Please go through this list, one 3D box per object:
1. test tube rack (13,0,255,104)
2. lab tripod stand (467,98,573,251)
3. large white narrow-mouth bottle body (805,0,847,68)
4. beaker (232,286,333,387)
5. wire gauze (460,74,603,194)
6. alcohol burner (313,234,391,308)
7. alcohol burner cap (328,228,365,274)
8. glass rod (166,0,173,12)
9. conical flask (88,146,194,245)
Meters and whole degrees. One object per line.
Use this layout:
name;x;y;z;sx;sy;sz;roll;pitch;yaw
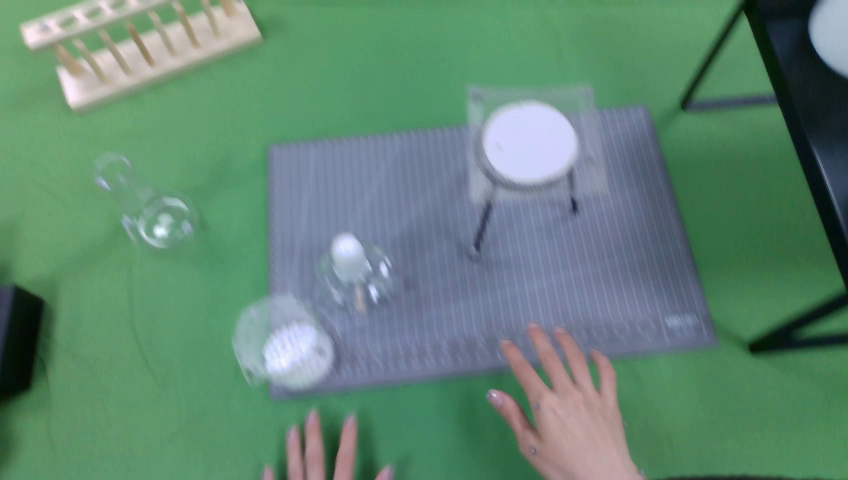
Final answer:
test tube rack;-0.337;-0.258;0.723;0.242;0.086;0.066;-26;70;-9
lab tripod stand;0.090;-0.069;0.610;0.148;0.132;0.147;0;66;0
large white narrow-mouth bottle body;0.378;-0.222;0.444;0.102;0.196;0.101;0;66;1
beaker;-0.128;0.097;0.566;0.074;0.101;0.083;23;71;11
wire gauze;0.095;-0.100;0.550;0.121;0.011;0.124;-1;68;-1
alcohol burner;-0.071;0.023;0.587;0.078;0.120;0.077;0;66;0
alcohol burner cap;-0.073;0.008;0.554;0.034;0.048;0.033;1;61;-1
glass rod;-0.318;-0.321;0.676;0.008;0.201;0.008;-3;61;6
conical flask;-0.293;-0.049;0.618;0.075;0.123;0.075;0;67;1
